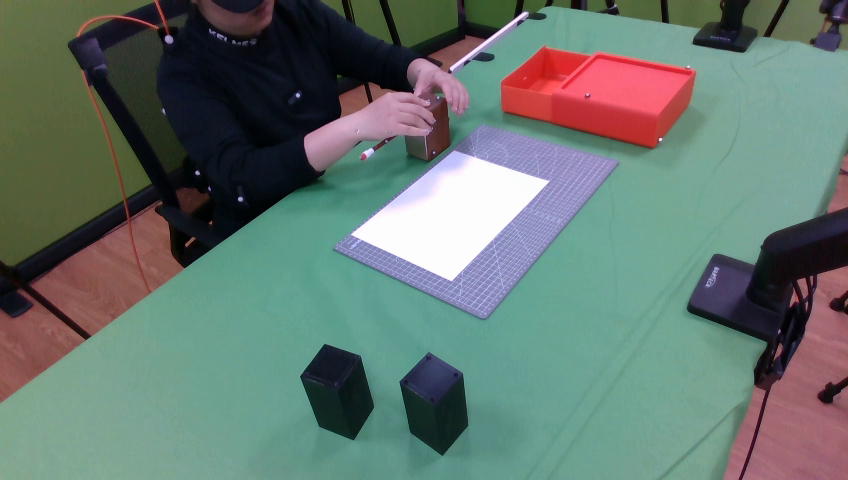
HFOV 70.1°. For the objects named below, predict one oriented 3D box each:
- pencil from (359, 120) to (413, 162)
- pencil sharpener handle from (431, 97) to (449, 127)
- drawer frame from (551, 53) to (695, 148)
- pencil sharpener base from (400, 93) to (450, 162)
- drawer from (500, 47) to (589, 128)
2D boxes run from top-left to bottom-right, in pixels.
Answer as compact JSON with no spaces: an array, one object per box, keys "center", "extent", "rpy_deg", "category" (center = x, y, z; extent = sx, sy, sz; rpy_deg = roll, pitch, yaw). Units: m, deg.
[{"center":[-0.051,-0.194,1.098],"extent":[0.012,0.012,0.194],"rpy_deg":[23,50,32],"category":"pencil"},{"center":[0.035,-0.254,1.181],"extent":[0.035,0.068,0.031],"rpy_deg":[30,52,27],"category":"pencil sharpener handle"},{"center":[0.391,-0.281,1.196],"extent":[0.212,0.083,0.202],"rpy_deg":[22,48,29],"category":"drawer frame"},{"center":[0.006,-0.216,1.159],"extent":[0.061,0.107,0.077],"rpy_deg":[25,49,32],"category":"pencil sharpener base"},{"center":[0.295,-0.316,1.255],"extent":[0.210,0.073,0.195],"rpy_deg":[22,47,29],"category":"drawer"}]
